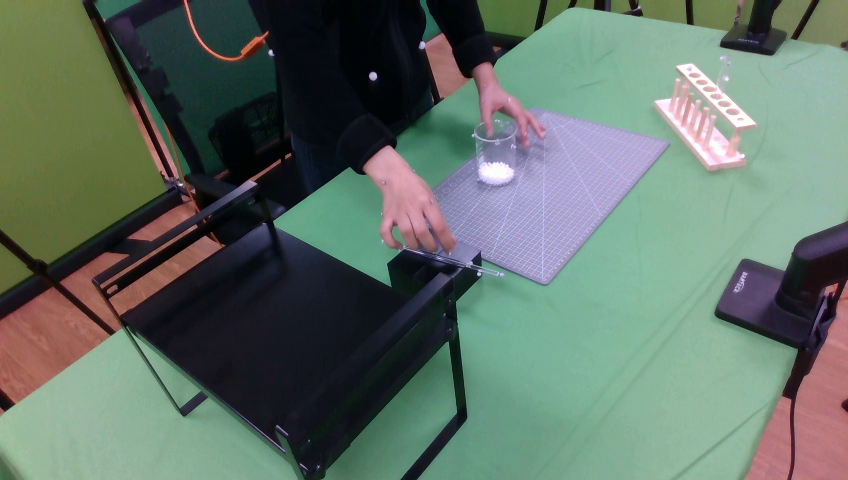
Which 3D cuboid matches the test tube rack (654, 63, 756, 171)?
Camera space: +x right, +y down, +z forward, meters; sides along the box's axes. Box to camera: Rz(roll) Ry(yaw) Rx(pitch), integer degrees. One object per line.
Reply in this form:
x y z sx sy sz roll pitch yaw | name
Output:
0.510 -0.233 1.120 0.067 0.085 0.241 -8 41 -1 | test tube rack

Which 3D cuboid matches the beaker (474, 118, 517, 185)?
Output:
0.130 -0.157 1.074 0.073 0.101 0.084 11 44 20 | beaker

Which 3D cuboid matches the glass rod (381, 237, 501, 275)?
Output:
0.020 0.023 0.882 0.198 0.008 0.008 16 46 25 | glass rod

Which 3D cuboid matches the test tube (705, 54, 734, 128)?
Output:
0.523 -0.260 1.073 0.017 0.151 0.017 -4 46 4 | test tube
